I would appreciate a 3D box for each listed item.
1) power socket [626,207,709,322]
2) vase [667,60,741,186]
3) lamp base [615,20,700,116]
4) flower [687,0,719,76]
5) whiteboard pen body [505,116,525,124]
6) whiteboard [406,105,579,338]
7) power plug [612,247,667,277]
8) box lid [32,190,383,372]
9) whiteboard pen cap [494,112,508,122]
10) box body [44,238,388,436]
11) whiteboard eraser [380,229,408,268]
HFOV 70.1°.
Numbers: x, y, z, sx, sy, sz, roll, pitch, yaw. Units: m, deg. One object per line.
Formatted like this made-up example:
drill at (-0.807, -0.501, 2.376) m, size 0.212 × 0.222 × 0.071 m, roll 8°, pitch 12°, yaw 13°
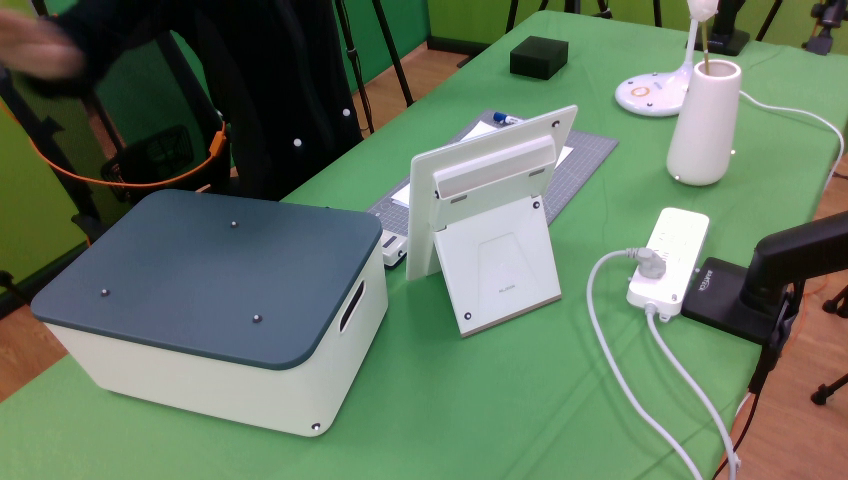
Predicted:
power socket at (0.360, 0.026, 0.886) m, size 0.072 × 0.033 × 0.227 m, roll 17°, pitch 46°, yaw 27°
vase at (0.463, -0.189, 0.994) m, size 0.098 × 0.201 × 0.097 m, roll -4°, pitch 40°, yaw 4°
lamp base at (0.484, -0.364, 1.211) m, size 0.180 × 0.181 × 0.159 m, roll -15°, pitch 41°, yaw -14°
flower at (0.436, -0.242, 0.934) m, size 0.038 × 0.364 × 0.043 m, roll -24°, pitch 49°, yaw 8°
whiteboard pen body at (0.203, -0.232, 1.213) m, size 0.139 × 0.017 × 0.017 m, roll 28°, pitch 51°, yaw 36°
whiteboard at (0.103, 0.003, 0.786) m, size 0.218 × 0.306 × 0.143 m, roll -19°, pitch 62°, yaw -14°
power plug at (0.306, 0.031, 0.852) m, size 0.072 × 0.053 × 0.035 m, roll 21°, pitch 48°, yaw 37°
box lid at (-0.257, 0.032, 0.750) m, size 0.370 × 0.015 × 0.263 m, roll 7°, pitch 41°, yaw 16°
whiteboard pen cap at (0.161, -0.253, 1.248) m, size 0.033 × 0.018 × 0.018 m, roll 27°, pitch 51°, yaw 36°
box body at (-0.251, 0.088, 0.799) m, size 0.362 × 0.161 × 0.254 m, roll 7°, pitch 42°, yaw 16°
whiteboard eraser at (-0.081, 0.007, 0.963) m, size 0.112 × 0.042 × 0.056 m, roll 19°, pitch 48°, yaw 27°
